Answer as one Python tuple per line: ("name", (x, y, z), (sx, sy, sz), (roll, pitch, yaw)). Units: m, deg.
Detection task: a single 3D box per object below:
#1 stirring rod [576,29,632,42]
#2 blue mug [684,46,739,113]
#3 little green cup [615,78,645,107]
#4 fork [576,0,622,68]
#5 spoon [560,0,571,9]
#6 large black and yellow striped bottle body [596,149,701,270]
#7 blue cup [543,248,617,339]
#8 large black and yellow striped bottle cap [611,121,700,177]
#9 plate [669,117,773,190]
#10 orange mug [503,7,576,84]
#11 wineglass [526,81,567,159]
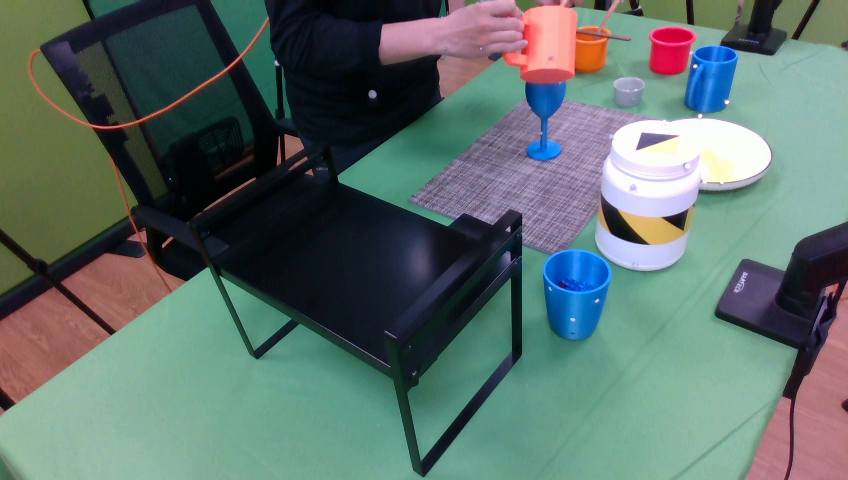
("stirring rod", (0.381, -0.462, 1.356), (0.175, 0.006, 0.014), (23, 48, 30))
("blue mug", (0.556, -0.310, 1.190), (0.117, 0.106, 0.081), (-32, 46, -25))
("little green cup", (0.426, -0.306, 1.257), (0.061, 0.039, 0.061), (-4, 40, 4))
("fork", (0.409, -0.484, 1.381), (0.028, 0.019, 0.207), (37, 101, 46))
("spoon", (0.230, -0.380, 0.980), (0.041, 0.022, 0.194), (17, 66, 45))
("large black and yellow striped bottle body", (0.323, -0.062, 0.877), (0.131, 0.185, 0.130), (-5, 40, 4))
("blue cup", (0.199, 0.076, 0.797), (0.092, 0.100, 0.092), (-4, 39, 4))
("large black and yellow striped bottle cap", (0.315, -0.126, 0.823), (0.115, 0.019, 0.114), (-4, 42, 4))
("plate", (0.495, -0.148, 1.063), (0.209, 0.038, 0.208), (-5, 40, 4))
("orange mug", (0.182, -0.310, 0.959), (0.127, 0.100, 0.083), (7, -2, -24))
("wineglass", (0.221, -0.237, 1.097), (0.074, 0.173, 0.073), (-4, 41, 4))
